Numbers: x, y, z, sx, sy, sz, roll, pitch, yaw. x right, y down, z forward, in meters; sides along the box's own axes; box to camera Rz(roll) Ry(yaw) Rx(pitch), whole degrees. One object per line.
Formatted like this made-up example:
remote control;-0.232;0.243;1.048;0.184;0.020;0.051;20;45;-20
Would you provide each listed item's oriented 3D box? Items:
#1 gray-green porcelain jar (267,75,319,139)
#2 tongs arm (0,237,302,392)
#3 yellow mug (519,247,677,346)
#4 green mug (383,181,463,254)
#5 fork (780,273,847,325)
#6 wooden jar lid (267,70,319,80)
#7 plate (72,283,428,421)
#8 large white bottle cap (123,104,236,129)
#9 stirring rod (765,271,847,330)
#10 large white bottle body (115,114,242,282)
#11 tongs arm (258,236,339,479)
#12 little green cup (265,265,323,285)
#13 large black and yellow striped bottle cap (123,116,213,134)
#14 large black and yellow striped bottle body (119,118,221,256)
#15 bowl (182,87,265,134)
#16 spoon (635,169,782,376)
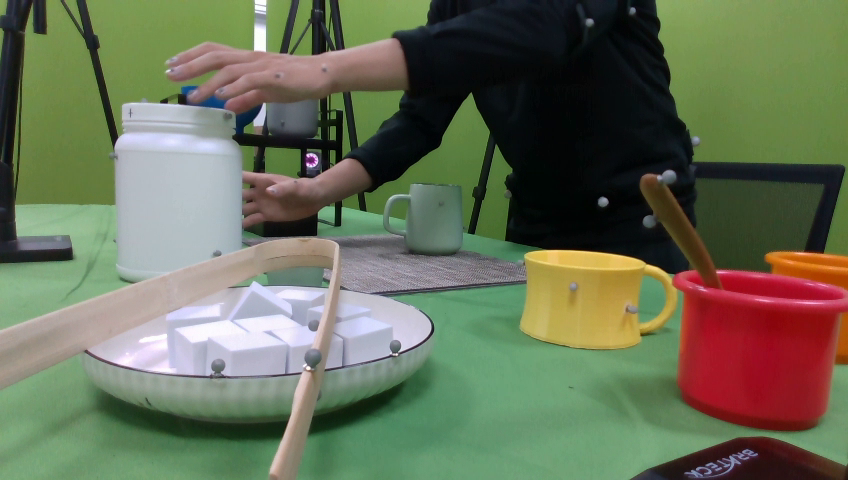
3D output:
gray-green porcelain jar;-0.277;-0.279;1.280;0.106;0.126;0.106;2;8;0
tongs arm;-0.157;0.038;0.347;0.028;0.028;0.388;-3;8;11
yellow mug;0.148;0.045;0.513;0.131;0.064;0.100;3;7;0
green mug;-0.001;-0.036;0.922;0.126;0.105;0.092;0;8;-16
fork;0.332;0.018;0.443;0.028;0.018;0.207;-3;-35;-16
wooden jar lid;-0.275;-0.339;1.271;0.108;0.020;0.108;5;6;0
plate;-0.102;0.066;0.381;0.208;0.039;0.207;3;7;0
large white bottle cap;-0.266;-0.135;0.663;0.115;0.018;0.115;3;7;0
stirring rod;0.352;0.020;0.481;0.176;0.006;0.014;-40;-7;17
large white bottle body;-0.270;-0.051;0.673;0.131;0.184;0.130;2;8;0
tongs arm;-0.074;0.040;0.345;0.051;0.026;0.384;-1;9;-3
little green cup;-0.134;0.034;0.628;0.061;0.038;0.061;3;7;0
large black and yellow striped bottle cap;-0.353;-0.159;0.838;0.115;0.019;0.115;2;6;0
large black and yellow striped bottle body;-0.355;-0.076;0.850;0.131;0.184;0.130;2;8;0
bowl;-0.383;-0.244;1.158;0.151;0.077;0.151;2;7;0
spoon;0.161;0.026;0.346;0.041;0.194;0.021;10;56;53
